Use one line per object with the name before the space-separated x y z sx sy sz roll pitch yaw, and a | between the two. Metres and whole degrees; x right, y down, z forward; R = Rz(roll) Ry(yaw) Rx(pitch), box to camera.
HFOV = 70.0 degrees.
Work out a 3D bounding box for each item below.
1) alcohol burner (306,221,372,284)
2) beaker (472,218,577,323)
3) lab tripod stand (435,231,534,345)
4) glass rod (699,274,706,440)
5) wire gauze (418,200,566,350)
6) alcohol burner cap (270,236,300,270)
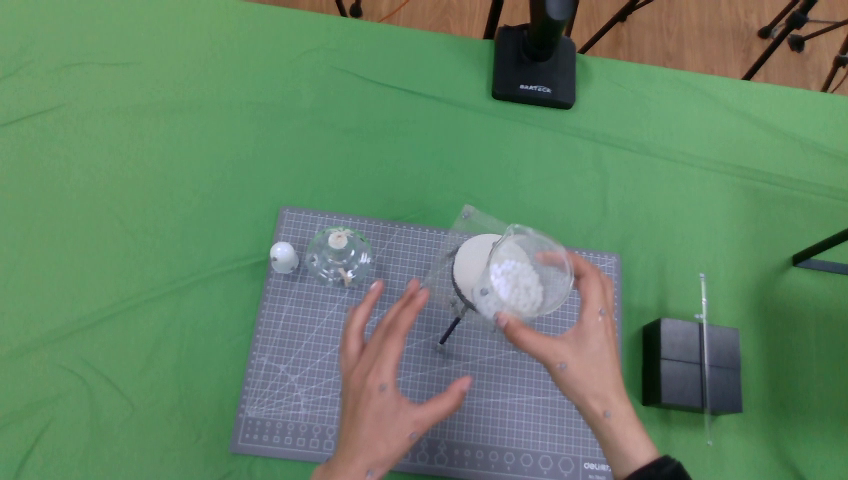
alcohol burner | -0.098 0.009 0.701 0.078 0.119 0.077 3 70 -8
beaker | 0.083 0.032 0.546 0.074 0.100 0.083 -14 76 -9
lab tripod stand | 0.070 0.053 0.697 0.149 0.132 0.147 3 69 -7
glass rod | 0.331 0.135 0.721 0.008 0.008 0.198 10 71 -3
wire gauze | 0.073 0.032 0.633 0.125 0.011 0.121 29 70 3
alcohol burner cap | -0.168 0.014 0.728 0.034 0.048 0.033 1 69 -3
